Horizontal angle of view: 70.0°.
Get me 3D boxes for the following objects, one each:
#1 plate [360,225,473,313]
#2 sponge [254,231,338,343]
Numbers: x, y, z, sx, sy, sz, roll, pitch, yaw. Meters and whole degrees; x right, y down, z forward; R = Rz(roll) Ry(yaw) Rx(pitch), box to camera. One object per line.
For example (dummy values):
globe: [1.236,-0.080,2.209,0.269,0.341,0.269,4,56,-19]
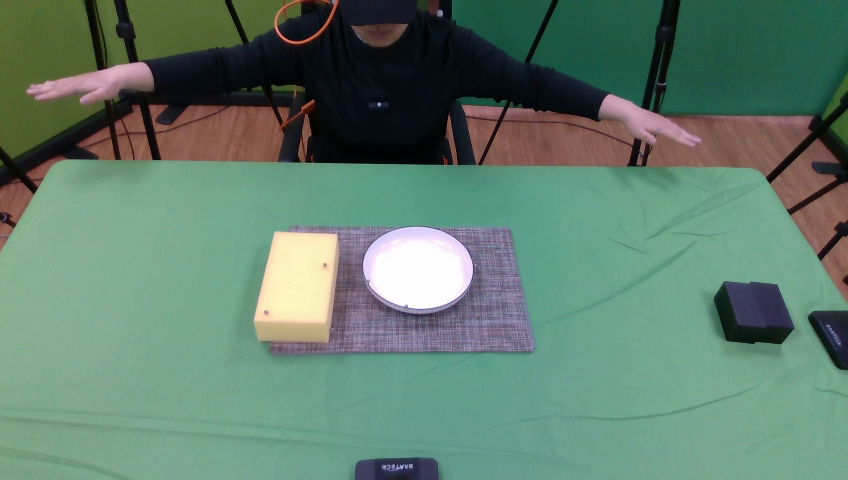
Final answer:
plate: [-0.014,0.057,1.126,0.208,0.039,0.206,2,46,-2]
sponge: [-0.221,0.079,1.073,0.118,0.061,0.205,1,46,-3]
